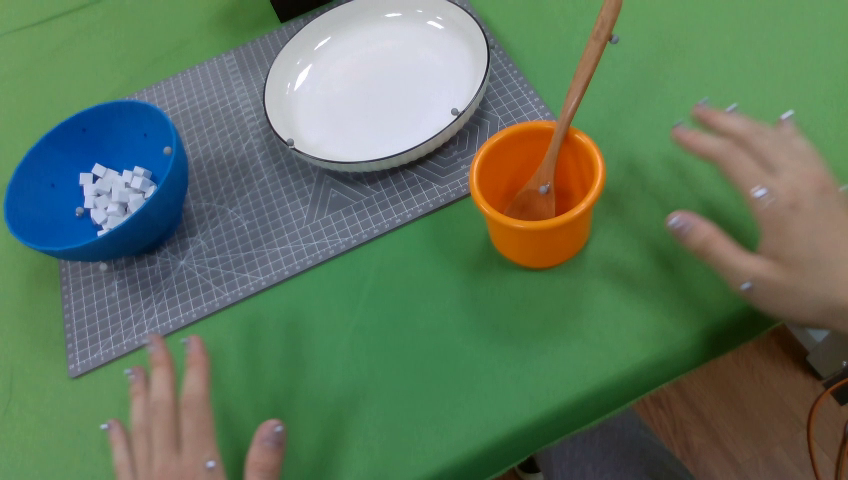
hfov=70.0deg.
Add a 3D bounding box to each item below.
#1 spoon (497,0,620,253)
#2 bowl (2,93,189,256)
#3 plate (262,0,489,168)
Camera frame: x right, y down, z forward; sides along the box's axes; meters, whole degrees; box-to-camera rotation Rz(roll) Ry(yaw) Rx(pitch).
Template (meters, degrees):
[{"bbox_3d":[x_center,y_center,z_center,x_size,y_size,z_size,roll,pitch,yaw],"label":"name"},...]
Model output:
[{"bbox_3d":[0.096,-0.079,0.422,0.041,0.194,0.022,29,26,25],"label":"spoon"},{"bbox_3d":[-0.260,-0.042,0.517,0.151,0.077,0.150,-6,60,10],"label":"bowl"},{"bbox_3d":[-0.043,-0.147,0.553,0.209,0.038,0.207,-5,60,9],"label":"plate"}]
